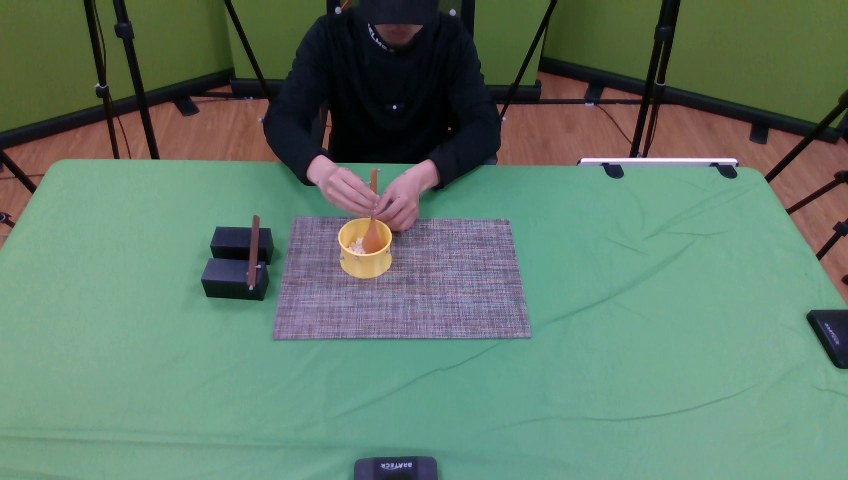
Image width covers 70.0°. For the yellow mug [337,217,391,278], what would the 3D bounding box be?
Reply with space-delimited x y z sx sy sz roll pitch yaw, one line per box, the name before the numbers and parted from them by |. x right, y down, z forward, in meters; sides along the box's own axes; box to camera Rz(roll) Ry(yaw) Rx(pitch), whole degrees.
yellow mug | -0.110 0.003 1.152 0.100 0.064 0.130 7 45 2

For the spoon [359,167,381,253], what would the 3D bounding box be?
spoon | -0.097 -0.049 1.105 0.041 0.194 0.021 10 34 7

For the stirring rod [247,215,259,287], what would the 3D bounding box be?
stirring rod | -0.309 0.016 1.097 0.014 0.006 0.175 24 36 -31
